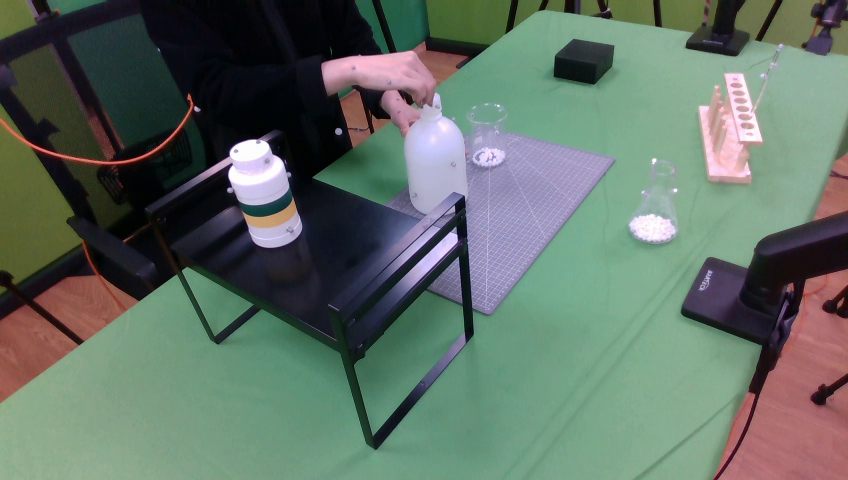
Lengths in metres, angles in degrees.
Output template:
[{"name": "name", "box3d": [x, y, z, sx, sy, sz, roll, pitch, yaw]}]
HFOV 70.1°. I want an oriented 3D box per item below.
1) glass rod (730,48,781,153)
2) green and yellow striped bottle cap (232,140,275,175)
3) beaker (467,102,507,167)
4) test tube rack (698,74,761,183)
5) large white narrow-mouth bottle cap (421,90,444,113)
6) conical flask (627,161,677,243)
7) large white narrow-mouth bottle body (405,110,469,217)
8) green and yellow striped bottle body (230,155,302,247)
[{"name": "glass rod", "box3d": [0.554, -0.228, 1.015, 0.008, 0.200, 0.008, 1, 44, -1]}, {"name": "green and yellow striped bottle cap", "box3d": [-0.192, -0.093, 0.680, 0.045, 0.020, 0.045, -5, 39, 5]}, {"name": "beaker", "box3d": [0.121, -0.195, 1.124, 0.084, 0.100, 0.073, -34, 48, -28]}, {"name": "test tube rack", "box3d": [0.547, -0.208, 1.095, 0.066, 0.085, 0.242, 5, 42, 15]}, {"name": "large white narrow-mouth bottle cap", "box3d": [0.013, -0.217, 0.945, 0.038, 0.024, 0.037, -3, 38, 3]}, {"name": "conical flask", "box3d": [0.355, -0.061, 0.921, 0.075, 0.122, 0.075, -4, 41, 4]}, {"name": "large white narrow-mouth bottle body", "box3d": [0.020, -0.141, 1.004, 0.102, 0.195, 0.101, -4, 38, 3]}, {"name": "green and yellow striped bottle body", "box3d": [-0.188, -0.055, 0.714, 0.063, 0.120, 0.063, -4, 41, 4]}]
